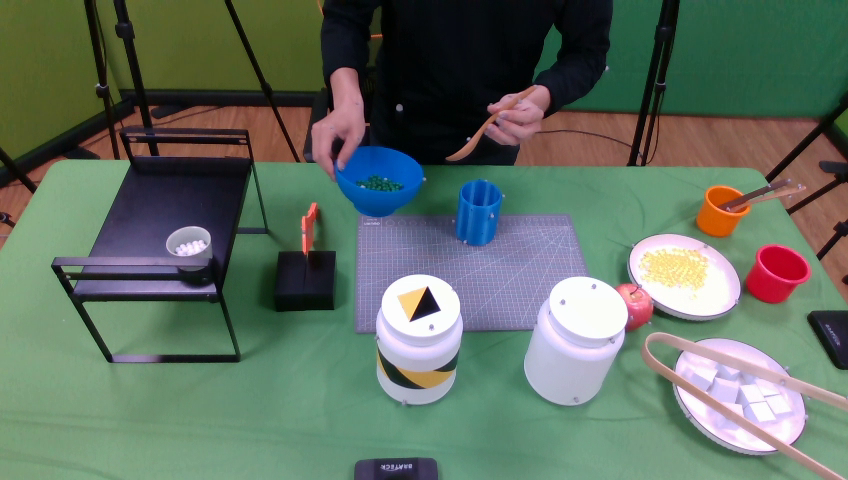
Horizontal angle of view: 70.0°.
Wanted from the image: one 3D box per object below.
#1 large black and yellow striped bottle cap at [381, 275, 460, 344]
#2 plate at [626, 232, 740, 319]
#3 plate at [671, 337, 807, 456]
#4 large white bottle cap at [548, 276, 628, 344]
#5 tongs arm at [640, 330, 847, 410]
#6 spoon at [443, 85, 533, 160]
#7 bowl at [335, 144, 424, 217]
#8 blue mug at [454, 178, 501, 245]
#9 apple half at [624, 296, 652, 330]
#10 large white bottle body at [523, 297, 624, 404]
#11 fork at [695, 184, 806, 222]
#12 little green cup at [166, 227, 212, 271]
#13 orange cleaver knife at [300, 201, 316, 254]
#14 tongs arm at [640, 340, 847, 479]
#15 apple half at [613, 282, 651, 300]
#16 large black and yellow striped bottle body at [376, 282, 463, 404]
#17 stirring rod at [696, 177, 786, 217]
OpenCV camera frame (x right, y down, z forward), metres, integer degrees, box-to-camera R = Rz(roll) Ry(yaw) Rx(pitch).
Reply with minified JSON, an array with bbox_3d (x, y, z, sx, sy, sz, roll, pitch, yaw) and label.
[{"bbox_3d":[-0.005,0.098,0.875,0.115,0.019,0.114,2,45,-2],"label":"large black and yellow striped bottle cap"},{"bbox_3d":[0.489,0.070,1.157,0.209,0.038,0.208,3,46,-3],"label":"plate"},{"bbox_3d":[0.504,0.254,0.984,0.208,0.039,0.206,2,46,-2],"label":"plate"},{"bbox_3d":[0.240,0.100,0.890,0.115,0.018,0.114,3,47,-3],"label":"large white bottle cap"},{"bbox_3d":[0.543,0.225,0.969,0.384,0.026,0.050,22,52,13],"label":"tongs arm"},{"bbox_3d":[0.099,-0.185,0.970,0.021,0.194,0.041,55,35,11],"label":"spoon"},{"bbox_3d":[-0.079,-0.092,1.035,0.151,0.077,0.150,8,38,-6],"label":"bowl"},{"bbox_3d":[0.106,-0.067,1.208,0.082,0.106,0.116,5,46,1],"label":"blue mug"},{"bbox_3d":[0.368,0.135,1.060,0.081,0.081,0.032,-11,43,-15],"label":"apple half"},{"bbox_3d":[0.235,0.159,0.952,0.131,0.185,0.130,2,47,-2],"label":"large white bottle body"},{"bbox_3d":[0.658,-0.074,1.230,0.207,0.019,0.028,-24,33,36],"label":"fork"},{"bbox_3d":[-0.344,0.014,0.895,0.061,0.039,0.061,3,46,-3],"label":"little green cup"},{"bbox_3d":[-0.222,-0.027,1.161,0.012,0.077,0.210,-1,15,-4],"label":"orange cleaver knife"},{"bbox_3d":[0.500,0.277,0.919,0.386,0.028,0.028,34,59,22],"label":"tongs arm"},{"bbox_3d":[0.356,0.109,1.086,0.081,0.075,0.053,-13,44,-12],"label":"apple half"},{"bbox_3d":[-0.010,0.155,0.937,0.131,0.185,0.130,2,47,-2],"label":"large black and yellow striped bottle body"},{"bbox_3d":[0.648,-0.087,1.244,0.176,0.006,0.014,-25,50,29],"label":"stirring rod"}]
